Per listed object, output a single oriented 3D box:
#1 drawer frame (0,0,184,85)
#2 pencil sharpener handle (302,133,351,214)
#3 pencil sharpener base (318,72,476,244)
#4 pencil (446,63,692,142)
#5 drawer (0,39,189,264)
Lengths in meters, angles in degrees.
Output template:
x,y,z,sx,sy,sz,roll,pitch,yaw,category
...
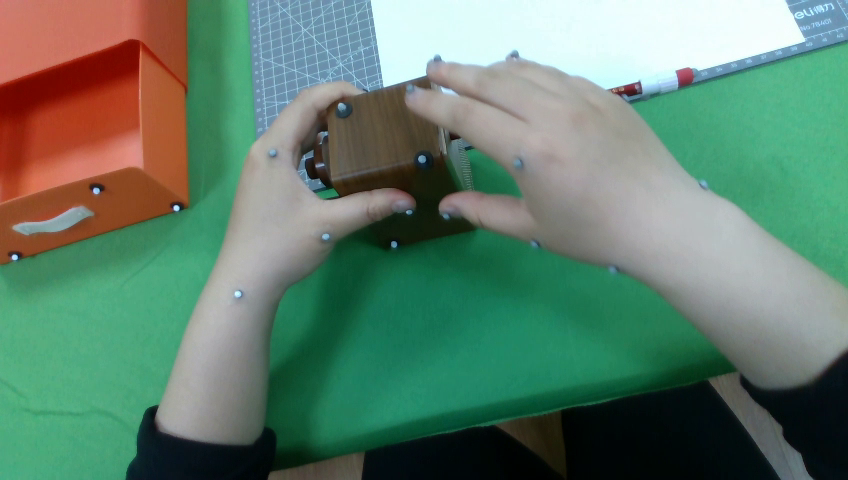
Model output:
x,y,z,sx,sy,sz,roll,pitch,yaw,category
-0.328,-0.209,0.557,0.201,0.083,0.211,-16,65,9,drawer frame
-0.066,-0.038,0.393,0.030,0.068,0.035,-13,58,11,pencil sharpener handle
-0.014,-0.047,0.395,0.076,0.108,0.061,-13,66,11,pencil sharpener base
0.056,-0.073,0.356,0.194,0.012,0.012,-14,66,9,pencil
-0.305,-0.103,0.511,0.194,0.074,0.210,-16,65,9,drawer
